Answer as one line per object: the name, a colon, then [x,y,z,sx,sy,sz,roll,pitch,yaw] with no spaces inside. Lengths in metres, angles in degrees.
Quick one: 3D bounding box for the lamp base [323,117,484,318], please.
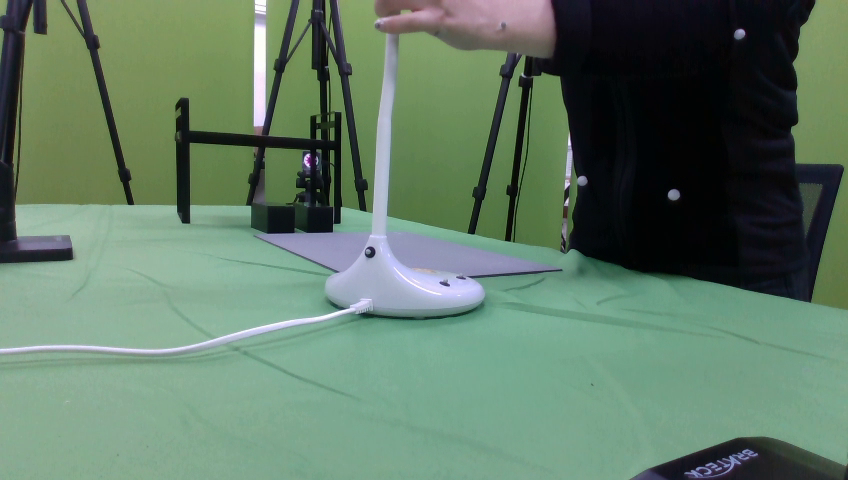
lamp base: [-0.021,-0.025,0.583,0.160,0.180,0.179,5,10,16]
